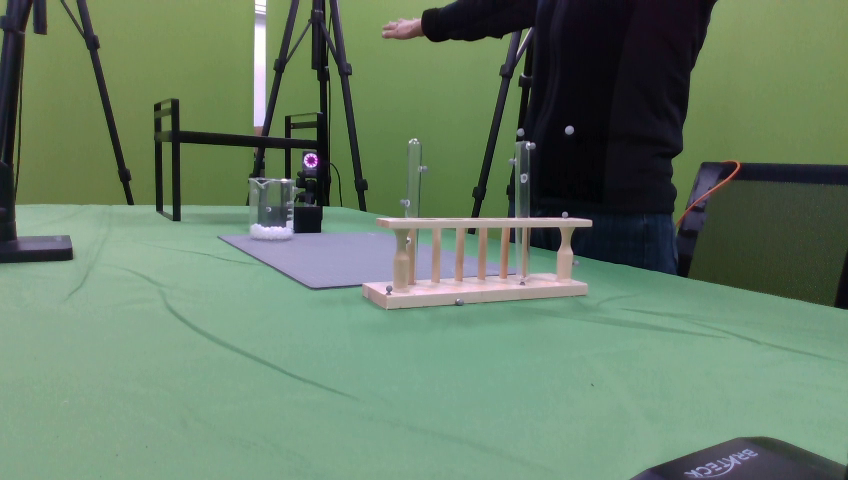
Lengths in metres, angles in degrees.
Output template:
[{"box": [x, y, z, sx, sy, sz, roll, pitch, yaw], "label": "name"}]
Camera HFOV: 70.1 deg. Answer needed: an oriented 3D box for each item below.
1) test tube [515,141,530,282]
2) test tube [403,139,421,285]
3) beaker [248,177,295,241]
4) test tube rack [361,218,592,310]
[{"box": [0.104, -0.028, 0.636, 0.017, 0.150, 0.017, -2, 12, 1], "label": "test tube"}, {"box": [-0.013, -0.027, 0.618, 0.017, 0.150, 0.017, 2, 7, 0], "label": "test tube"}, {"box": [-0.252, -0.051, 0.992, 0.074, 0.100, 0.084, 3, 9, 6], "label": "beaker"}, {"box": [0.060, 0.018, 0.640, 0.243, 0.085, 0.066, -1, 8, -27], "label": "test tube rack"}]
